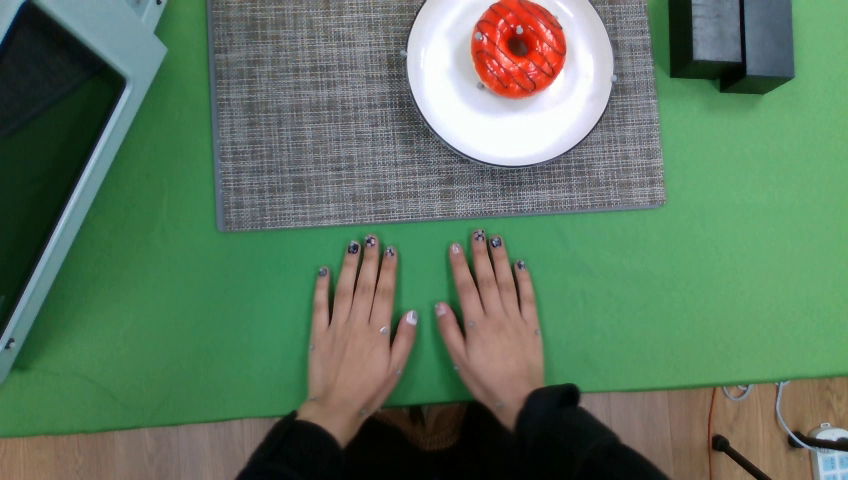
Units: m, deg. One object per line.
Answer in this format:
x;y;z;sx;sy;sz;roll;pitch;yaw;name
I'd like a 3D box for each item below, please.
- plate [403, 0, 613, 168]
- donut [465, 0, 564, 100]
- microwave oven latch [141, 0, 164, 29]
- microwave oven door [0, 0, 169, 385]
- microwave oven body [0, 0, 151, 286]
0.084;-0.172;0.611;0.209;0.038;0.208;0;86;-4;plate
0.089;-0.188;0.601;0.099;0.048;0.099;0;87;-6;donut
-0.263;-0.240;0.577;0.030;0.029;0.079;21;85;-3;microwave oven latch
-0.326;-0.042;0.456;0.039;0.244;0.355;24;84;-1;microwave oven door
-0.458;-0.137;0.459;0.326;0.260;0.441;21;85;-3;microwave oven body
